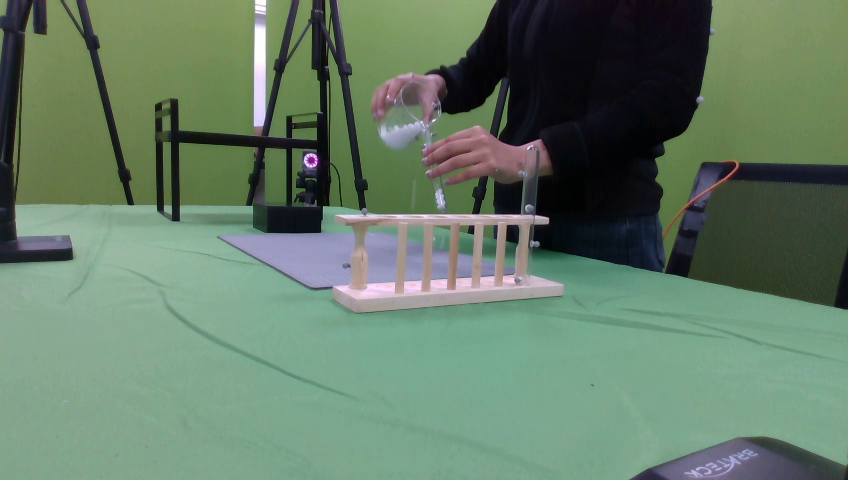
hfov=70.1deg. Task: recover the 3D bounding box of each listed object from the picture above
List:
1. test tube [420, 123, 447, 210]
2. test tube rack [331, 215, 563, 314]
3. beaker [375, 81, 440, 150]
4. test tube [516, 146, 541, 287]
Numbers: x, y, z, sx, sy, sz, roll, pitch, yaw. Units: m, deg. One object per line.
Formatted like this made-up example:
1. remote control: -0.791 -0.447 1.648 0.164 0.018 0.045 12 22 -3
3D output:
1. test tube: 0.014 -0.112 0.907 0.017 0.150 0.017 -9 -24 -4
2. test tube rack: 0.031 0.019 0.625 0.243 0.085 0.066 -1 8 -28
3. beaker: -0.029 -0.196 0.983 0.074 0.083 0.100 -4 -21 -33
4. test tube: 0.110 -0.024 0.638 0.017 0.150 0.017 4 6 0
